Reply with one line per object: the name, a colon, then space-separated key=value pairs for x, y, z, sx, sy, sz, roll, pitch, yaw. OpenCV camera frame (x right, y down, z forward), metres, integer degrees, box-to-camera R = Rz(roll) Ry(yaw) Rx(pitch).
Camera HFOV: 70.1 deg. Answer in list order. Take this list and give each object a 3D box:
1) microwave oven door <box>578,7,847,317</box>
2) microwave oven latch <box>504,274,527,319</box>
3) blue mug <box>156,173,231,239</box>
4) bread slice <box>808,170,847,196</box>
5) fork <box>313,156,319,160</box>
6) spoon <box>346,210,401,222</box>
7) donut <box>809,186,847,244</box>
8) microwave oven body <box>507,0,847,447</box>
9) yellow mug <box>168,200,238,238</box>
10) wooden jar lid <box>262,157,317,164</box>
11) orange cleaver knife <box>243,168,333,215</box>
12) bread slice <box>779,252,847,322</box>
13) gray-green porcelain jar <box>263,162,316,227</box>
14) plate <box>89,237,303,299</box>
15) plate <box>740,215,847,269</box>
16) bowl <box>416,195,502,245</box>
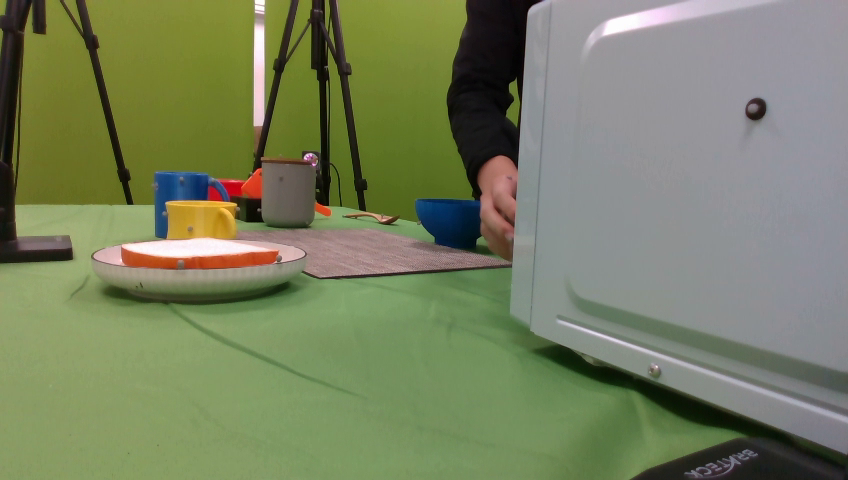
microwave oven door: x=0.294 y=-0.066 z=0.570 sx=0.358 sy=0.243 sz=0.039 roll=-3 pitch=9 yaw=-31
microwave oven latch: x=0.100 y=0.041 z=0.470 sx=0.079 sy=0.029 sz=0.030 roll=-1 pitch=7 yaw=-27
blue mug: x=-0.381 y=-0.057 z=1.004 sx=0.117 sy=0.106 sz=0.082 roll=0 pitch=8 yaw=-12
bread slice: x=0.366 y=-0.051 z=0.453 sx=0.135 sy=0.018 sz=0.106 roll=-9 pitch=1 yaw=-23
fork: x=-0.331 y=-0.144 z=1.506 sx=0.207 sy=0.018 sz=0.028 roll=-42 pitch=-18 yaw=22
spoon: x=-0.121 y=-0.060 z=1.400 sx=0.042 sy=0.021 sz=0.192 roll=-27 pitch=24 yaw=-38
donut: x=0.351 y=-0.023 z=0.463 sx=0.099 sy=0.048 sz=0.099 roll=-10 pitch=5 yaw=1
microwave oven body: x=0.331 y=-0.042 z=0.425 sx=0.444 sy=0.260 sz=0.324 roll=-2 pitch=8 yaw=-31
yellow mug: x=-0.319 y=-0.023 z=0.904 sx=0.130 sy=0.064 sz=0.100 roll=9 pitch=11 yaw=36
wooden jar lid: x=-0.269 y=-0.154 z=1.208 sx=0.108 sy=0.020 sz=0.108 roll=3 pitch=4 yaw=0
orange cleaver knife: x=-0.300 y=-0.089 z=1.351 sx=0.212 sy=0.077 sz=0.012 roll=29 pitch=-9 yaw=-34
bread slice: x=0.370 y=0.027 z=0.479 sx=0.132 sy=0.019 sz=0.104 roll=-25 pitch=10 yaw=-7
gray-green porcelain jar: x=-0.271 y=-0.092 z=1.217 sx=0.106 sy=0.126 sz=0.106 roll=2 pitch=7 yaw=0
plate: x=-0.233 y=0.029 z=0.636 sx=0.208 sy=0.039 sz=0.207 roll=2 pitch=7 yaw=0
plate: x=0.358 y=0.001 z=0.463 sx=0.209 sy=0.038 sz=0.209 roll=1 pitch=4 yaw=0
bowl: x=0.059 y=-0.035 z=1.049 sx=0.151 sy=0.077 sz=0.151 roll=2 pitch=7 yaw=0
